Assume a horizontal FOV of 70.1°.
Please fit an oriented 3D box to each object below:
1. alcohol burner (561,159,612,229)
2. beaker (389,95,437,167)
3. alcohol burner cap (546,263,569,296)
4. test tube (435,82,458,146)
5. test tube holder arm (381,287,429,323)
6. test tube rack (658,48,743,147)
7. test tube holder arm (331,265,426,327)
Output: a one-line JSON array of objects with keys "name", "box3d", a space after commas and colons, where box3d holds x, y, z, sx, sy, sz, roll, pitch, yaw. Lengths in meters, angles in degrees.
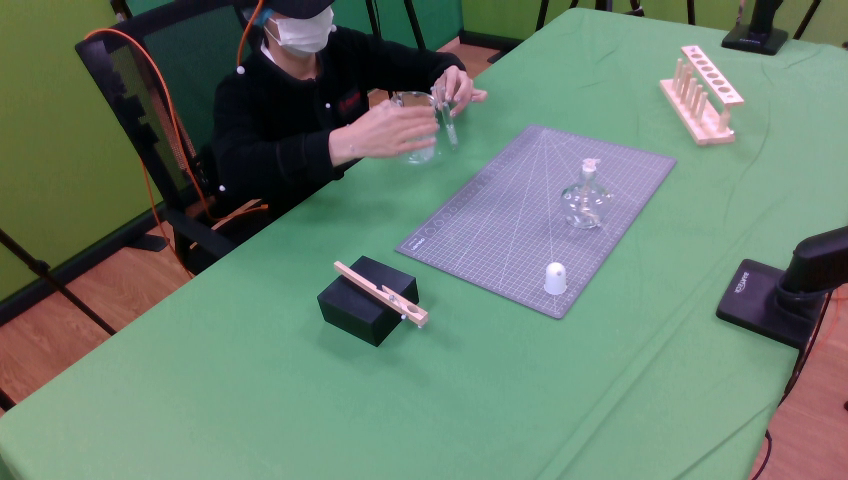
[{"name": "alcohol burner", "box3d": [0.257, -0.077, 0.951, 0.078, 0.119, 0.077, -3, 40, 3]}, {"name": "beaker", "box3d": [-0.014, -0.177, 0.990, 0.084, 0.100, 0.073, -23, 41, -26]}, {"name": "alcohol burner cap", "box3d": [0.191, 0.053, 0.862, 0.034, 0.048, 0.033, -5, 40, 4]}, {"name": "test tube", "box3d": [0.042, -0.221, 1.082, 0.017, 0.151, 0.017, -7, 55, 11]}, {"name": "test tube holder arm", "box3d": [-0.028, 0.087, 0.807, 0.087, 0.015, 0.010, 25, 42, 33]}, {"name": "test tube rack", "box3d": [0.532, -0.284, 1.181, 0.067, 0.085, 0.241, -5, 40, 4]}, {"name": "test tube holder arm", "box3d": [-0.066, 0.074, 0.828, 0.177, 0.015, 0.013, 25, 42, 33]}]
